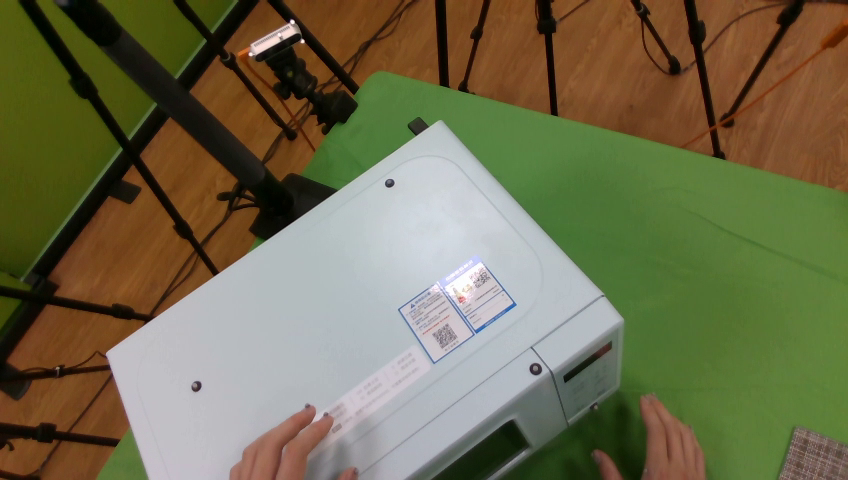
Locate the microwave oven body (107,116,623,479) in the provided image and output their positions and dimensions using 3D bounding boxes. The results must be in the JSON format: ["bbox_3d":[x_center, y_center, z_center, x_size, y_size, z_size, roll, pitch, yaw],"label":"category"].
[{"bbox_3d":[-0.056,0.135,0.688,0.441,0.263,0.322,-36,60,-3],"label":"microwave oven body"}]

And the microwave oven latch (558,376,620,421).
[{"bbox_3d":[0.191,0.176,0.706,0.079,0.030,0.030,-35,59,-2],"label":"microwave oven latch"}]

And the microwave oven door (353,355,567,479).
[{"bbox_3d":[-0.016,0.256,0.606,0.356,0.246,0.039,-36,58,-4],"label":"microwave oven door"}]
